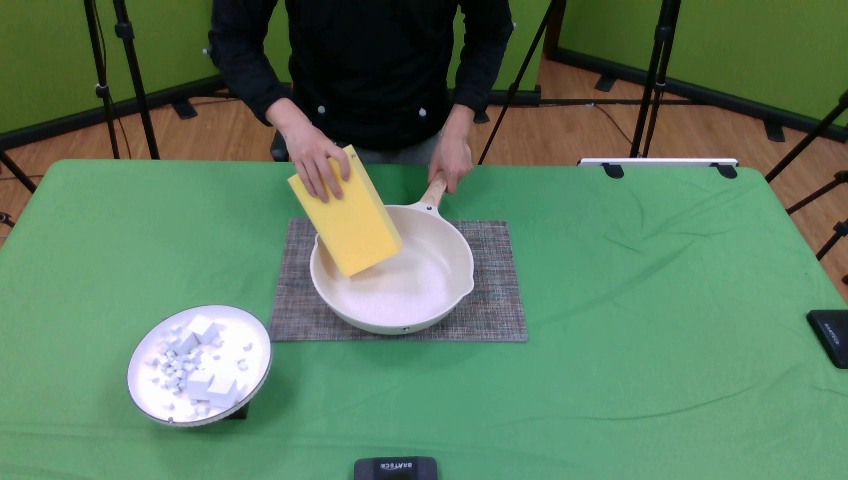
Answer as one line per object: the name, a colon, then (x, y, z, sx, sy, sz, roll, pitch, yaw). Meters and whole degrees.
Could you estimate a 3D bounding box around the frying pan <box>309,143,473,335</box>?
frying pan: (-0.017, -0.022, 1.155, 0.306, 0.103, 0.486, 20, 56, 13)

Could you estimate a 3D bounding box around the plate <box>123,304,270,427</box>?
plate: (-0.336, 0.189, 0.913, 0.208, 0.039, 0.206, 1, 46, -1)

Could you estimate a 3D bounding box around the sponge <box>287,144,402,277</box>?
sponge: (-0.139, -0.051, 1.087, 0.118, 0.207, 0.060, -24, 16, 12)
